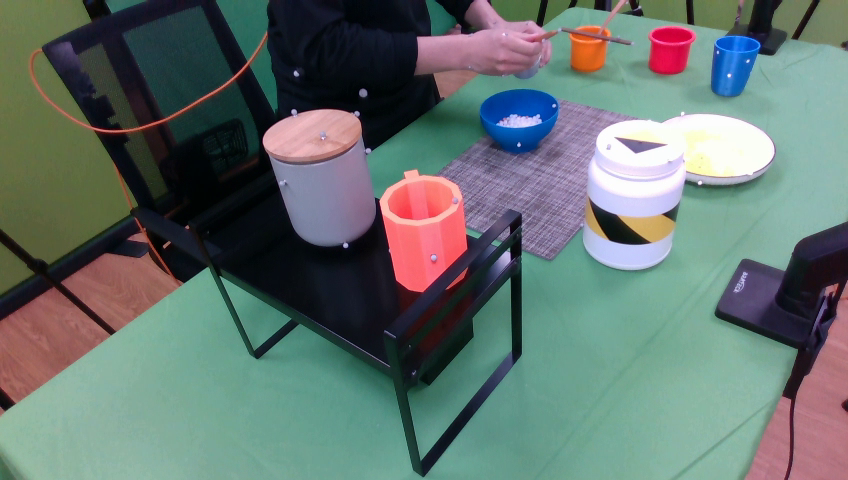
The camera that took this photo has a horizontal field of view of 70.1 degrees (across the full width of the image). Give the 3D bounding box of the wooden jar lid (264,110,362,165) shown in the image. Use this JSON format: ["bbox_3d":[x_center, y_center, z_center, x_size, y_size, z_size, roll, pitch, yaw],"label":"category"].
[{"bbox_3d":[-0.122,-0.112,0.673,0.108,0.021,0.108,-4,37,4],"label":"wooden jar lid"}]

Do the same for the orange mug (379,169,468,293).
[{"bbox_3d":[-0.002,-0.019,0.665,0.083,0.101,0.125,-12,45,-4],"label":"orange mug"}]

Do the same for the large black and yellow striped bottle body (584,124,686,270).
[{"bbox_3d":[0.304,-0.063,0.880,0.131,0.185,0.130,-5,41,5],"label":"large black and yellow striped bottle body"}]

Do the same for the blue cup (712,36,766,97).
[{"bbox_3d":[0.627,-0.350,1.227,0.092,0.100,0.092,-4,39,4],"label":"blue cup"}]

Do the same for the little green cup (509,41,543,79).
[{"bbox_3d":[0.188,-0.329,1.113,0.061,0.039,0.061,-2,73,8],"label":"little green cup"}]

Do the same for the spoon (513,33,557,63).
[{"bbox_3d":[0.187,-0.325,1.019,0.042,0.021,0.193,-12,4,-4],"label":"spoon"}]

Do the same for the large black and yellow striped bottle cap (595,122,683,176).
[{"bbox_3d":[0.293,-0.126,0.826,0.115,0.019,0.114,-3,40,3],"label":"large black and yellow striped bottle cap"}]

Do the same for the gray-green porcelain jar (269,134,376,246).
[{"bbox_3d":[-0.115,-0.064,0.715,0.106,0.127,0.105,-4,40,4],"label":"gray-green porcelain jar"}]

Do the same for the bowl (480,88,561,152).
[{"bbox_3d":[0.185,-0.222,1.160,0.151,0.077,0.150,-4,40,4],"label":"bowl"}]

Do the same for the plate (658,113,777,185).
[{"bbox_3d":[0.506,-0.158,1.073,0.209,0.038,0.208,-4,40,4],"label":"plate"}]

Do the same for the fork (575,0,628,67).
[{"bbox_3d":[0.413,-0.481,1.377,0.207,0.019,0.028,-56,43,12],"label":"fork"}]

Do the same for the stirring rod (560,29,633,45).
[{"bbox_3d":[0.381,-0.452,1.345,0.174,0.006,0.014,25,49,33],"label":"stirring rod"}]
